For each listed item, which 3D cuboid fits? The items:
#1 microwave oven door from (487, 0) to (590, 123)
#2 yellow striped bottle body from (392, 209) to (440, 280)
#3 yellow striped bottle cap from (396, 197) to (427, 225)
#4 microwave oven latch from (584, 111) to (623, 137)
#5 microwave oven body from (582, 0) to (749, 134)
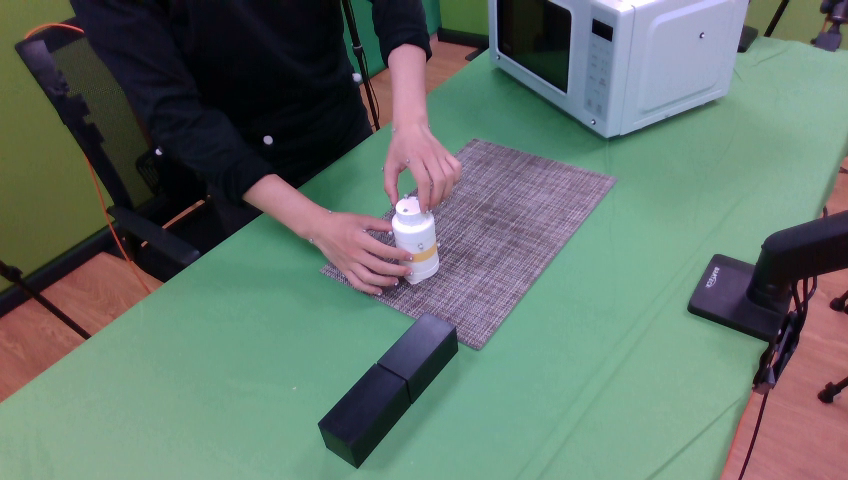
[{"bbox_3d":[0.232,-0.420,1.230,0.039,0.245,0.352,-22,43,-16],"label":"microwave oven door"},{"bbox_3d":[-0.012,-0.003,0.892,0.063,0.121,0.062,-4,41,4],"label":"yellow striped bottle body"},{"bbox_3d":[-0.018,-0.042,0.858,0.044,0.019,0.044,-4,37,3],"label":"yellow striped bottle cap"},{"bbox_3d":[0.337,-0.222,1.142,0.030,0.029,0.078,-21,42,-14],"label":"microwave oven latch"},{"bbox_3d":[0.382,-0.444,1.246,0.327,0.261,0.437,-22,42,-16],"label":"microwave oven body"}]
